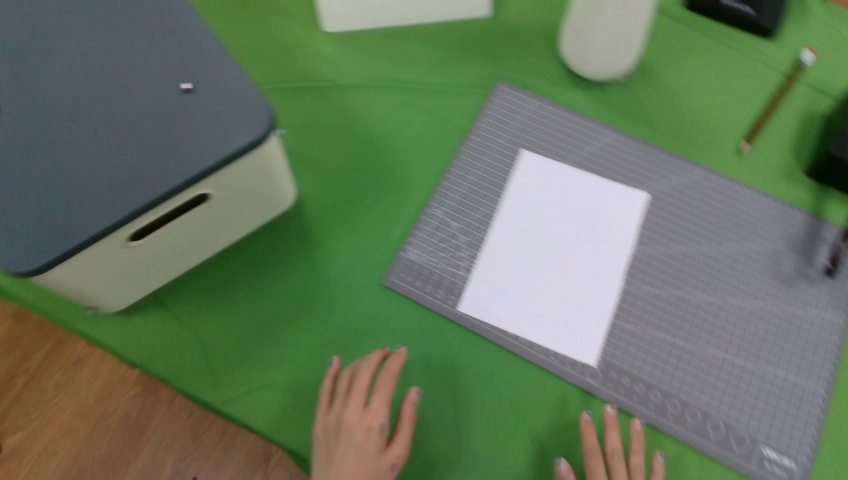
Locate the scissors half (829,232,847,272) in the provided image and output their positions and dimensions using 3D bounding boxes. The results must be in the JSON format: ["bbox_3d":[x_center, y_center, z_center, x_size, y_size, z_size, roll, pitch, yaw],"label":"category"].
[{"bbox_3d":[0.461,-0.039,0.625,0.012,0.040,0.175,28,71,31],"label":"scissors half"}]

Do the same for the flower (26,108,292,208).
[{"bbox_3d":[-0.314,-0.105,0.694,0.360,0.038,0.044,17,98,13],"label":"flower"}]

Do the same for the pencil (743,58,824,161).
[{"bbox_3d":[0.435,-0.159,0.733,0.012,0.012,0.194,39,73,15],"label":"pencil"}]

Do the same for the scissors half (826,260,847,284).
[{"bbox_3d":[0.469,-0.031,0.641,0.012,0.040,0.175,28,88,36],"label":"scissors half"}]

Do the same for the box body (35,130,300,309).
[{"bbox_3d":[-0.324,-0.138,0.632,0.254,0.161,0.361,-33,71,-14],"label":"box body"}]

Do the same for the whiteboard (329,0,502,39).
[{"bbox_3d":[-0.018,-0.423,0.714,0.217,0.308,0.142,-5,47,-2],"label":"whiteboard"}]

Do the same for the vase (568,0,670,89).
[{"bbox_3d":[0.224,-0.262,0.673,0.098,0.201,0.097,0,65,0],"label":"vase"}]

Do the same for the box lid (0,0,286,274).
[{"bbox_3d":[-0.325,-0.169,0.565,0.263,0.015,0.369,-33,71,-14],"label":"box lid"}]
